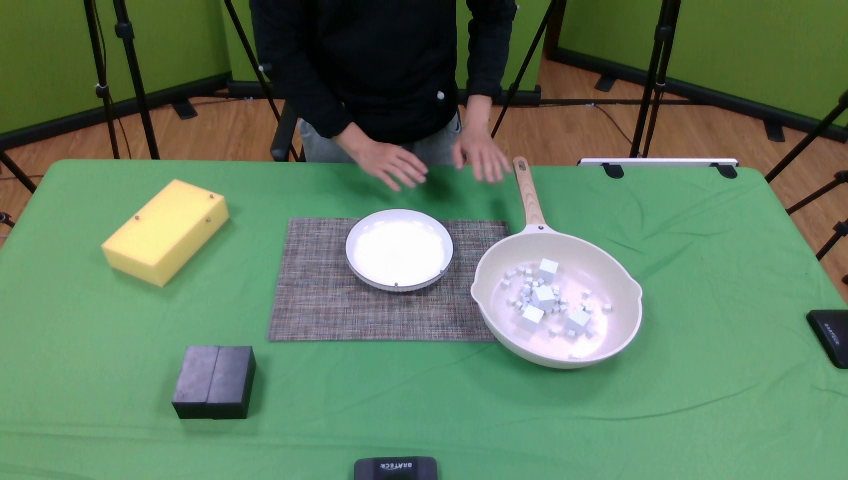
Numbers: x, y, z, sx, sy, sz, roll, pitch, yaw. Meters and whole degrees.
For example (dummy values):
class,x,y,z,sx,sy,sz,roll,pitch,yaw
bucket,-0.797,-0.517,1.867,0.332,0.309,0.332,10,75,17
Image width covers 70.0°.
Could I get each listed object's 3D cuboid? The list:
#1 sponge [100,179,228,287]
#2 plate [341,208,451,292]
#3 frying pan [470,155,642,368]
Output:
class,x,y,z,sx,sy,sz,roll,pitch,yaw
sponge,-0.486,-0.018,1.151,0.118,0.061,0.206,19,47,12
plate,-0.053,0.022,1.156,0.208,0.039,0.206,2,46,-2
frying pan,0.222,0.022,1.134,0.307,0.103,0.484,0,55,-7
